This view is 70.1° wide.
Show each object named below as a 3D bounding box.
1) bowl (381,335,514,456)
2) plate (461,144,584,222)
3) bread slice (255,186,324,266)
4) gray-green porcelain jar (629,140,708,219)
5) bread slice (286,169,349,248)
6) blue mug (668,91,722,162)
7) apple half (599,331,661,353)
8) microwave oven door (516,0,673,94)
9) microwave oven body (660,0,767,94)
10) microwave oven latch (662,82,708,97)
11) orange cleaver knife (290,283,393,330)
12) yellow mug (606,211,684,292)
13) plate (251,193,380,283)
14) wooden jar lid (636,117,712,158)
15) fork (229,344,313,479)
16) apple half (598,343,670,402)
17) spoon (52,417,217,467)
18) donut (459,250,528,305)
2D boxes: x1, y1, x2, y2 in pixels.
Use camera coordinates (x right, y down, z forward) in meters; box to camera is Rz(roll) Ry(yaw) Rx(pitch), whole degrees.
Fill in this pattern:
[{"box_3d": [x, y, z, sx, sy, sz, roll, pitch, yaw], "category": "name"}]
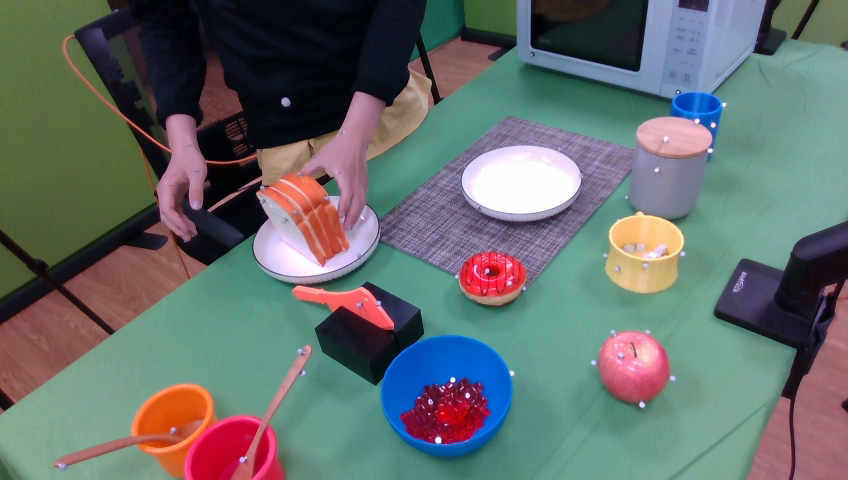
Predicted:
[{"box_3d": [0.029, 0.192, 0.701, 0.151, 0.077, 0.150, -4, 40, 4], "category": "bowl"}, {"box_3d": [0.168, -0.095, 1.040, 0.207, 0.039, 0.206, -4, 40, 4], "category": "plate"}, {"box_3d": [-0.211, -0.026, 0.936, 0.106, 0.135, 0.018, 27, 61, 35], "category": "bread slice"}, {"box_3d": [0.383, -0.105, 0.958, 0.106, 0.127, 0.105, -4, 41, 4], "category": "gray-green porcelain jar"}, {"box_3d": [-0.170, -0.053, 0.960, 0.019, 0.132, 0.104, -41, 50, -23], "category": "bread slice"}, {"box_3d": [0.474, -0.207, 1.079, 0.082, 0.106, 0.116, 4, 42, 13], "category": "blue mug"}, {"box_3d": [0.249, 0.134, 0.738, 0.081, 0.081, 0.032, -1, 46, 7], "category": "apple half"}, {"box_3d": [0.344, -0.458, 1.257, 0.353, 0.245, 0.039, 26, 52, 33], "category": "microwave oven door"}, {"box_3d": [0.473, -0.516, 1.314, 0.438, 0.261, 0.327, 26, 51, 34], "category": "microwave oven body"}, {"box_3d": [0.517, -0.298, 1.203, 0.078, 0.029, 0.030, 27, 52, 34], "category": "microwave oven latch"}, {"box_3d": [-0.118, 0.091, 0.835, 0.209, 0.077, 0.012, 1, 35, 48], "category": "orange cleaver knife"}, {"box_3d": [0.318, 0.008, 0.883, 0.100, 0.064, 0.130, 0, 40, 9], "category": "yellow mug"}, {"box_3d": [-0.173, 0.000, 0.985, 0.209, 0.038, 0.208, -4, 41, 4], "category": "plate"}, {"box_3d": [0.377, -0.151, 0.917, 0.108, 0.021, 0.108, -2, 42, 2], "category": "wooden jar lid"}, {"box_3d": [-0.173, 0.205, 0.661, 0.028, 0.019, 0.207, 29, 94, 36], "category": "fork"}, {"box_3d": [0.247, 0.161, 0.710, 0.081, 0.075, 0.053, 2, 47, 5], "category": "apple half"}, {"box_3d": [-0.308, 0.220, 0.663, 0.041, 0.195, 0.021, 23, 93, 29], "category": "spoon"}, {"box_3d": [0.100, 0.053, 0.872, 0.099, 0.048, 0.098, -5, 41, 4], "category": "donut"}]
